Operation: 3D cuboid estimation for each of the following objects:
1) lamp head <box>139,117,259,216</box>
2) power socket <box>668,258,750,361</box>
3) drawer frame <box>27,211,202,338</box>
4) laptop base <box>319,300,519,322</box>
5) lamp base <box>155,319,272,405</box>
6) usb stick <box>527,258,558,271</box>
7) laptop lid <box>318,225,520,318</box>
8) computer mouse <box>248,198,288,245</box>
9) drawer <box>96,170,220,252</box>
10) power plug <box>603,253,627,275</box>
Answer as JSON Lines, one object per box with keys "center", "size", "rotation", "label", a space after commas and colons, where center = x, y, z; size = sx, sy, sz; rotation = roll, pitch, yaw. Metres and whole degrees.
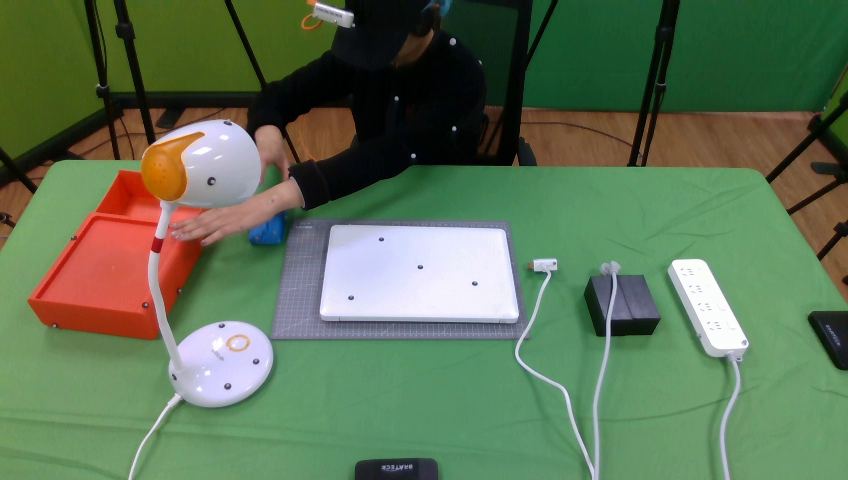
{"center": [-0.281, -0.086, 0.734], "size": [0.112, 0.113, 0.123], "rotation": [21, 25, 16], "label": "lamp head"}
{"center": [0.517, 0.118, 1.109], "size": [0.072, 0.033, 0.225], "rotation": [-2, 46, -4], "label": "power socket"}
{"center": [-0.529, 0.056, 1.063], "size": [0.202, 0.083, 0.212], "rotation": [7, 46, 1], "label": "drawer frame"}
{"center": [-0.009, 0.062, 1.137], "size": [0.354, 0.023, 0.234], "rotation": [1, 42, -3], "label": "laptop base"}
{"center": [-0.330, 0.149, 0.918], "size": [0.160, 0.181, 0.179], "rotation": [26, 52, 20], "label": "lamp base"}
{"center": [0.226, 0.046, 1.158], "size": [0.059, 0.021, 0.027], "rotation": [-3, 8, 10], "label": "usb stick"}
{"center": [-0.009, 0.052, 1.131], "size": [0.357, 0.013, 0.240], "rotation": [2, 43, -2], "label": "laptop lid"}
{"center": [-0.309, -0.040, 1.205], "size": [0.063, 0.041, 0.116], "rotation": [4, 49, -3], "label": "computer mouse"}
{"center": [-0.518, -0.035, 1.155], "size": [0.194, 0.073, 0.210], "rotation": [6, 46, 0], "label": "drawer"}
{"center": [0.366, 0.040, 1.131], "size": [0.035, 0.072, 0.052], "rotation": [40, 53, -9], "label": "power plug"}
